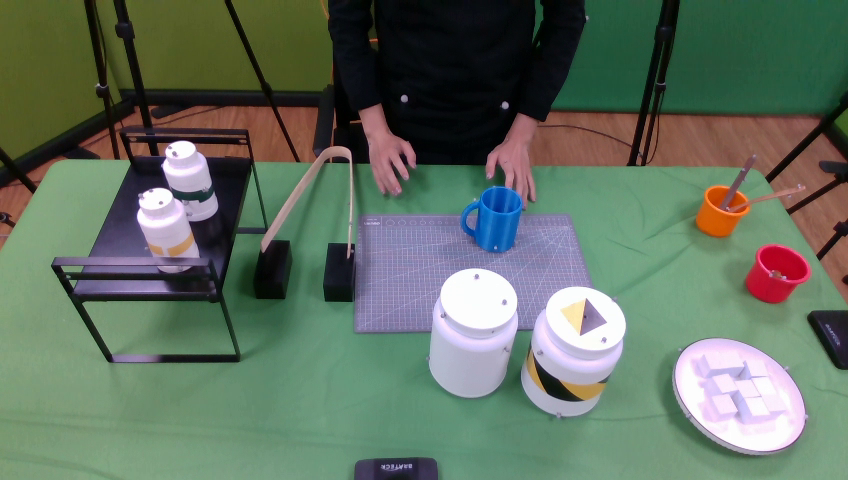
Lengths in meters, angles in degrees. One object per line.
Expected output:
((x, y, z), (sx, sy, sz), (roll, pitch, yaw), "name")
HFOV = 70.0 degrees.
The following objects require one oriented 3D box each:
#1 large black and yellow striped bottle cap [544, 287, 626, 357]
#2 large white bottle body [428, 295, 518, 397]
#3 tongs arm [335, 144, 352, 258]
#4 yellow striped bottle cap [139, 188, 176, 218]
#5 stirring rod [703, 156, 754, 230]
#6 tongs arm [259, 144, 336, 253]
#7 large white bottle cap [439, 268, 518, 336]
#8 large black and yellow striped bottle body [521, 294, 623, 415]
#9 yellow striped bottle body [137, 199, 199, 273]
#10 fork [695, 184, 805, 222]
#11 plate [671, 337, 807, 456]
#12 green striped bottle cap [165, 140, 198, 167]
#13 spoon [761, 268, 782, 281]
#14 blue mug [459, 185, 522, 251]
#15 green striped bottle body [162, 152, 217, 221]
((0.232, 0.116, 0.876), (0.115, 0.019, 0.114), (2, 46, -1), "large black and yellow striped bottle cap")
((0.076, 0.147, 0.950), (0.131, 0.185, 0.130), (2, 46, -2), "large white bottle body")
((-0.170, -0.092, 1.234), (0.051, 0.026, 0.382), (0, 37, -3), "tongs arm")
((-0.363, -0.051, 0.826), (0.044, 0.019, 0.044), (1, 47, -1), "yellow striped bottle cap")
((0.631, -0.098, 1.258), (0.014, 0.006, 0.176), (33, 95, 29), "stirring rod")
((-0.252, -0.098, 1.233), (0.028, 0.028, 0.385), (5, 37, 10), "tongs arm")
((0.080, 0.089, 0.888), (0.115, 0.018, 0.114), (2, 47, -2), "large white bottle cap")
((0.228, 0.173, 0.938), (0.131, 0.185, 0.130), (2, 47, -2), "large black and yellow striped bottle body")
((-0.366, -0.014, 0.864), (0.063, 0.121, 0.062), (2, 46, -2), "yellow striped bottle body")
((0.657, -0.075, 1.230), (0.207, 0.019, 0.028), (-23, 34, 37), "fork")
((0.503, 0.254, 0.984), (0.208, 0.039, 0.206), (2, 46, -2), "plate")
((-0.361, -0.129, 0.902), (0.044, 0.020, 0.044), (3, 47, -3), "green striped bottle cap")
((0.638, 0.060, 1.105), (0.041, 0.021, 0.194), (38, 11, 24), "spoon")
((0.127, -0.042, 1.185), (0.116, 0.106, 0.082), (0, 47, -4), "blue mug")
((-0.363, -0.092, 0.939), (0.063, 0.120, 0.063), (2, 46, -2), "green striped bottle body")
